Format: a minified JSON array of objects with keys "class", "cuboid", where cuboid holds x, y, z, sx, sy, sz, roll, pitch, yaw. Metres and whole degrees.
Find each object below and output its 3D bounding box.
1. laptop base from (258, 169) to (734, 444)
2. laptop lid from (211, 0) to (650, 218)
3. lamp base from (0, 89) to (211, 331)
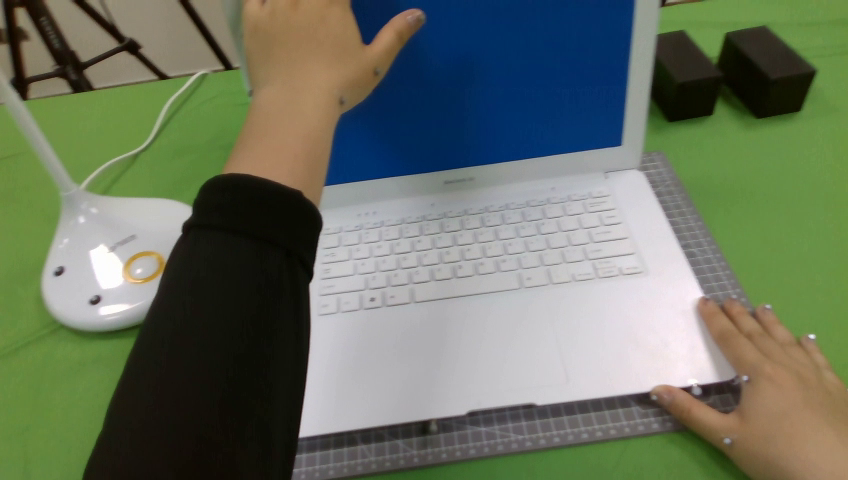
[{"class":"laptop base","cuboid":[0.043,0.043,0.519,0.354,0.023,0.233,-8,49,0]},{"class":"laptop lid","cuboid":[0.018,-0.136,0.530,0.357,0.244,0.013,-9,36,1]},{"class":"lamp base","cuboid":[-0.302,-0.037,0.528,0.178,0.182,0.160,21,52,28]}]
